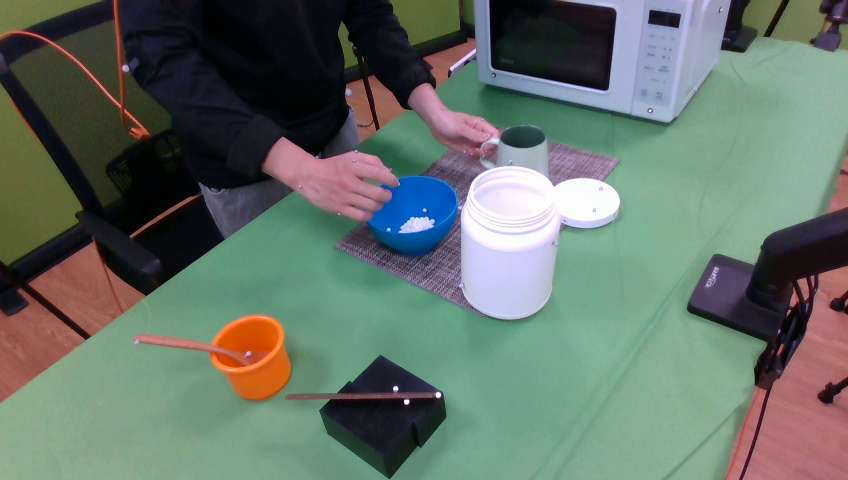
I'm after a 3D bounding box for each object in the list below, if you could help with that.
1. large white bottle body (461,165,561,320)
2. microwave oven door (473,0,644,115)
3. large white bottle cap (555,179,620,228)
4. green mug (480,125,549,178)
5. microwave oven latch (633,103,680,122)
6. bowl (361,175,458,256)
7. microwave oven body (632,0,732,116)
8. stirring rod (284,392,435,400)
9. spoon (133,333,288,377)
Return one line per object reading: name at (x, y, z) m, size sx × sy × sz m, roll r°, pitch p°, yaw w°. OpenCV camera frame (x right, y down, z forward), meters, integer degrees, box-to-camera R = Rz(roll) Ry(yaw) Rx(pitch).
large white bottle body at (0.115, 0.004, 0.815) m, size 0.130 × 0.185 × 0.130 m, roll -2°, pitch 43°, yaw 2°
microwave oven door at (0.257, -0.396, 1.199) m, size 0.353 × 0.245 × 0.039 m, roll 21°, pitch 48°, yaw 29°
large white bottle cap at (0.265, -0.062, 1.001) m, size 0.115 × 0.018 × 0.114 m, roll -3°, pitch 41°, yaw 4°
green mug at (0.152, -0.134, 1.032) m, size 0.124 × 0.105 × 0.092 m, roll 17°, pitch 46°, yaw 26°
microwave oven latch at (0.443, -0.249, 1.157) m, size 0.078 × 0.029 × 0.030 m, roll 21°, pitch 48°, yaw 30°
bowl at (-0.018, -0.029, 0.955) m, size 0.151 × 0.077 × 0.150 m, roll -4°, pitch 40°, yaw 4°
microwave oven body at (0.377, -0.462, 1.267) m, size 0.438 × 0.261 × 0.327 m, roll 21°, pitch 48°, yaw 30°
stirring rod at (-0.075, 0.180, 0.698) m, size 0.176 × 0.006 × 0.014 m, roll -2°, pitch 6°, yaw 6°
spoon at (-0.257, 0.137, 0.747) m, size 0.021 × 0.195 × 0.041 m, roll -46°, pitch 40°, yaw 23°
